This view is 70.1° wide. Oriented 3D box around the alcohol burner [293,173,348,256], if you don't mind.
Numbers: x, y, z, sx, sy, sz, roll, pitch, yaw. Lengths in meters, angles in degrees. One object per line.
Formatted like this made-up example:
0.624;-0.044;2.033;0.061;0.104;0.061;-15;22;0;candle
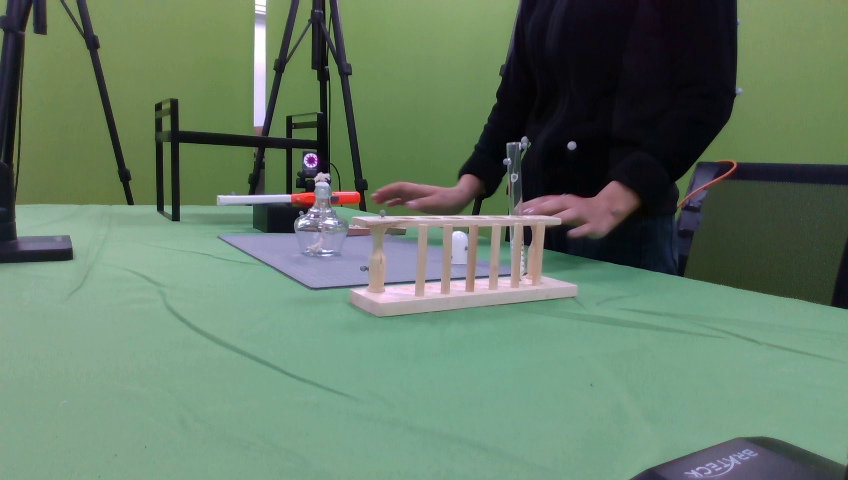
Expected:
-0.147;-0.036;0.859;0.078;0.119;0.078;4;8;0;alcohol burner

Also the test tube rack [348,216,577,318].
0.048;0.021;0.619;0.244;0.085;0.066;-2;8;-31;test tube rack

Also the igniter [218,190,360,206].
-0.247;-0.080;1.150;0.278;0.025;0.057;-5;8;-29;igniter

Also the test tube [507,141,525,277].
0.101;-0.032;0.664;0.017;0.150;0.017;-3;9;1;test tube

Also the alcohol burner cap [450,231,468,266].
0.046;0.011;0.838;0.034;0.048;0.034;2;6;0;alcohol burner cap

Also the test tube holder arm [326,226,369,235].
-0.136;-0.017;1.085;0.088;0.015;0.010;0;30;-43;test tube holder arm

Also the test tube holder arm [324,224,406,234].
-0.105;-0.020;1.120;0.179;0.015;0.013;0;30;-43;test tube holder arm
